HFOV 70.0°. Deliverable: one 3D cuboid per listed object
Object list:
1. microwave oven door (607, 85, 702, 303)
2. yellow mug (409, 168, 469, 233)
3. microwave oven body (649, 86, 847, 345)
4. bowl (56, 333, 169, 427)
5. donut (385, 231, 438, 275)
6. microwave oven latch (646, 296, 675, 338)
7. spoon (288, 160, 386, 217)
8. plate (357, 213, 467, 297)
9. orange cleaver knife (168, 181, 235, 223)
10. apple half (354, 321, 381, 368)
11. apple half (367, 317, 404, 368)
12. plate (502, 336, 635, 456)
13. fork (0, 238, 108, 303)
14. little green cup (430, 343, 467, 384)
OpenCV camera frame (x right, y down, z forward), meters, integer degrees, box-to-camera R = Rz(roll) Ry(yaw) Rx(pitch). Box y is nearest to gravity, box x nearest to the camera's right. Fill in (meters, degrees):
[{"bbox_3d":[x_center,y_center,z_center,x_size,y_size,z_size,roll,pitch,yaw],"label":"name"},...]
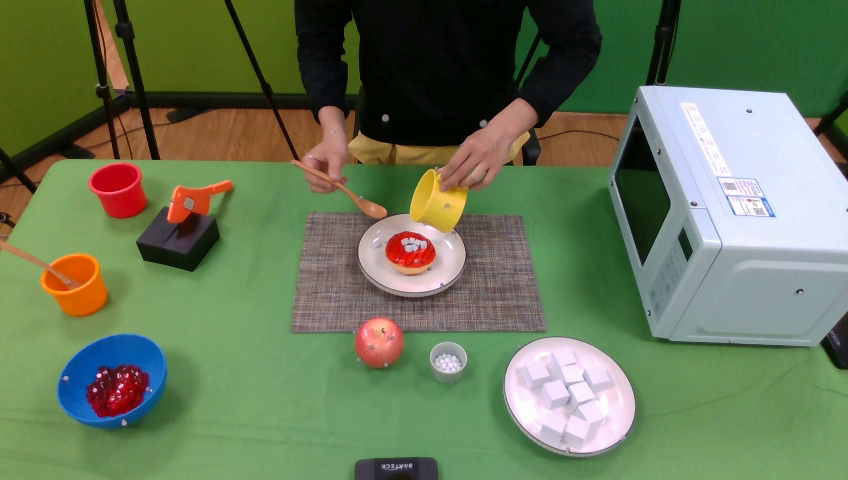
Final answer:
[{"bbox_3d":[0.423,-0.094,1.140,0.039,0.245,0.353,2,46,-1],"label":"microwave oven door"},{"bbox_3d":[0.030,-0.079,1.066,0.064,0.131,0.099,20,44,-20],"label":"yellow mug"},{"bbox_3d":[0.568,-0.053,1.118,0.326,0.261,0.439,2,45,-1],"label":"microwave oven body"},{"bbox_3d":[-0.456,0.223,0.911,0.151,0.077,0.150,3,46,-2],"label":"bowl"},{"bbox_3d":[-0.024,0.024,1.141,0.099,0.048,0.098,3,45,-2],"label":"donut"},{"bbox_3d":[0.412,0.134,1.061,0.030,0.029,0.078,4,45,1],"label":"microwave oven latch"},{"bbox_3d":[-0.150,-0.091,1.059,0.194,0.021,0.041,33,32,-24],"label":"spoon"},{"bbox_3d":[-0.023,0.031,1.149,0.209,0.038,0.208,3,46,-3],"label":"plate"},{"bbox_3d":[-0.436,-0.078,1.196,0.012,0.077,0.211,16,15,10],"label":"orange cleaver knife"},{"bbox_3d":[-0.097,0.176,0.985,0.033,0.081,0.080,-12,48,-20],"label":"apple half"},{"bbox_3d":[-0.061,0.167,0.998,0.053,0.075,0.080,-11,44,-20],"label":"apple half"},{"bbox_3d":[0.225,0.248,0.963,0.208,0.039,0.206,2,46,-2],"label":"plate"},{"bbox_3d":[-0.633,0.048,1.017,0.208,0.018,0.028,40,41,-27],"label":"fork"},{"bbox_3d":[0.039,0.203,0.993,0.061,0.039,0.061,2,46,-2],"label":"little green cup"}]
